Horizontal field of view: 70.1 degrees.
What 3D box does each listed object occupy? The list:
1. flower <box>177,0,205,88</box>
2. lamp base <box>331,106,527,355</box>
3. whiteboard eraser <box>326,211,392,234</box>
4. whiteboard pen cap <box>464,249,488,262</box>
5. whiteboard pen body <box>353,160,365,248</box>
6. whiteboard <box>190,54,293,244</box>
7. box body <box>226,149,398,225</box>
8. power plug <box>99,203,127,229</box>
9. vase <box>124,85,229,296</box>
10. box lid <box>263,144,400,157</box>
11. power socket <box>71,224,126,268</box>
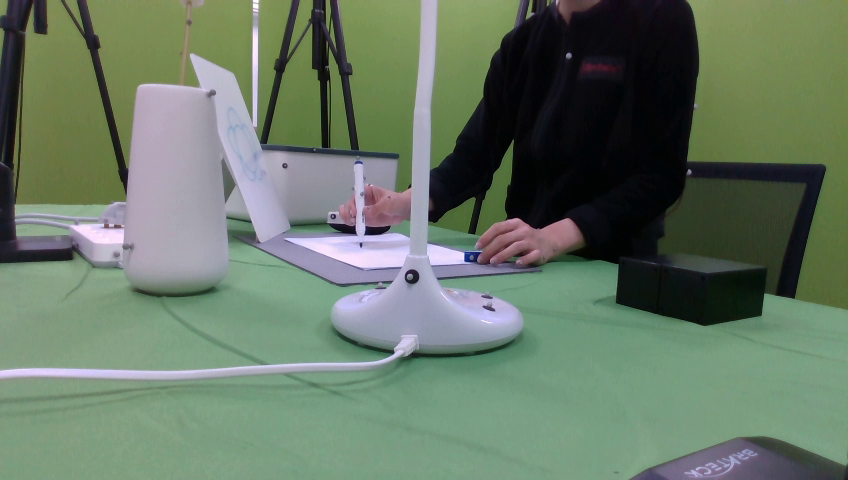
[{"bbox_3d":[-0.243,-0.131,0.609,0.044,0.361,0.038,-5,-12,12],"label":"flower"},{"bbox_3d":[0.006,-0.012,0.478,0.161,0.180,0.179,2,10,2],"label":"lamp base"},{"bbox_3d":[-0.121,-0.033,1.131,0.112,0.042,0.056,4,8,13],"label":"whiteboard eraser"},{"bbox_3d":[0.073,0.023,0.850,0.033,0.018,0.018,-5,7,7],"label":"whiteboard pen cap"},{"bbox_3d":[-0.101,-0.056,0.945,0.017,0.140,0.017,-3,-12,0],"label":"whiteboard pen body"},{"bbox_3d":[-0.362,-0.129,1.029,0.144,0.305,0.217,-18,7,3],"label":"whiteboard"},{"bbox_3d":[-0.265,-0.129,1.380,0.253,0.160,0.366,8,9,39],"label":"box body"},{"bbox_3d":[-0.415,-0.026,0.848,0.073,0.052,0.035,6,5,-28],"label":"power plug"},{"bbox_3d":[-0.244,-0.047,0.598,0.098,0.200,0.098,3,8,0],"label":"vase"},{"bbox_3d":[-0.263,-0.203,1.369,0.262,0.015,0.373,9,10,39],"label":"box lid"},{"bbox_3d":[-0.409,0.004,0.793,0.072,0.032,0.225,-2,8,-37],"label":"power socket"}]
